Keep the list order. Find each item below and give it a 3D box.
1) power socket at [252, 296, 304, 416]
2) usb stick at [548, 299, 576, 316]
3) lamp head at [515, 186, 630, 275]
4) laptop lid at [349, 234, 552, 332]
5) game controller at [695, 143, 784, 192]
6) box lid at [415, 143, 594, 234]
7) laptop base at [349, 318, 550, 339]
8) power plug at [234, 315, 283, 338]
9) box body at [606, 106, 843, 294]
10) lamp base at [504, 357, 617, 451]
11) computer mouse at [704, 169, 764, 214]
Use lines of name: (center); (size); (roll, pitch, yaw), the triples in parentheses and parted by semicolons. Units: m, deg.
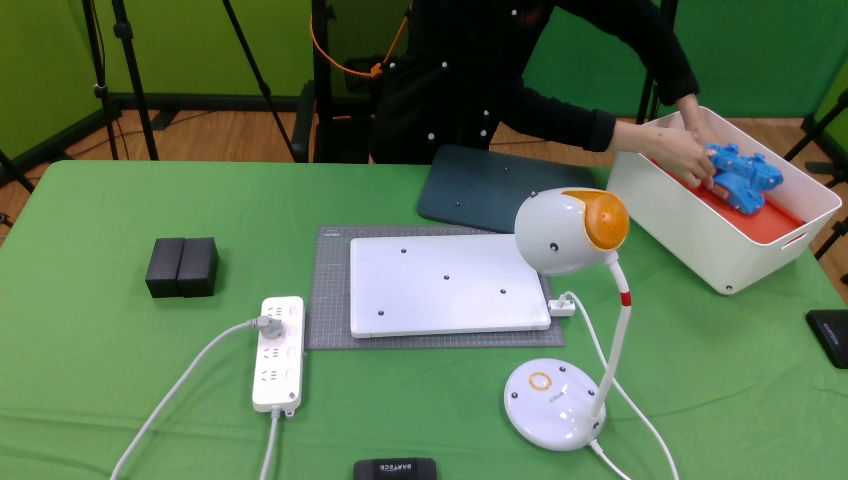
power socket: (-0.238, 0.181, 0.997); (0.072, 0.033, 0.225); (-3, 47, -5)
usb stick: (0.239, 0.121, 1.084); (0.059, 0.027, 0.021); (-1, 51, -1)
lamp head: (0.188, -0.013, 0.728); (0.112, 0.112, 0.122); (-25, 9, -25)
laptop lid: (0.040, 0.071, 1.118); (0.357, 0.013, 0.240); (0, 44, -5)
game controller: (0.575, -0.140, 1.107); (0.154, 0.052, 0.097); (29, 38, 28)
box lid: (0.185, -0.105, 1.322); (0.371, 0.015, 0.262); (11, 46, 7)
laptop base: (0.039, 0.081, 1.125); (0.355, 0.023, 0.234); (-2, 43, -6)
power plug: (-0.269, 0.143, 1.000); (0.072, 0.053, 0.035); (4, 47, 3)
box body: (0.582, -0.088, 1.230); (0.254, 0.161, 0.361); (-22, 52, -23)
lamp base: (0.220, 0.211, 0.903); (0.160, 0.181, 0.178); (-33, 59, -30)
computer mouse: (0.632, -0.103, 1.229); (0.063, 0.041, 0.116); (-30, 62, -28)
